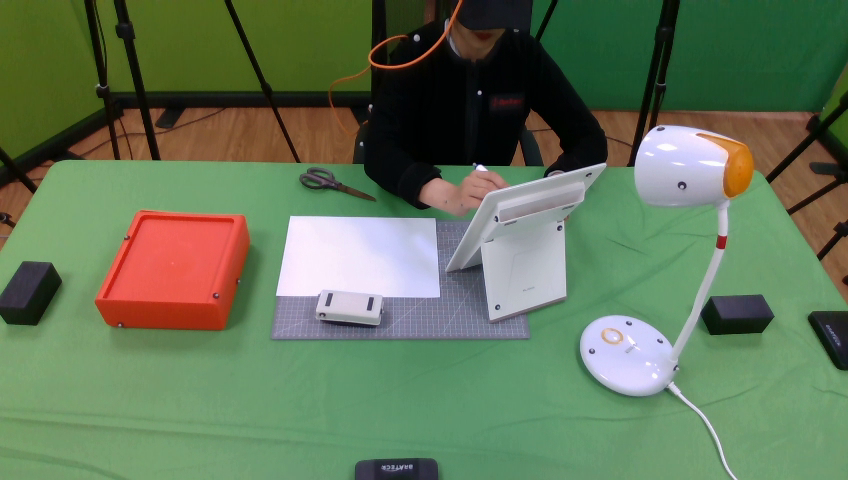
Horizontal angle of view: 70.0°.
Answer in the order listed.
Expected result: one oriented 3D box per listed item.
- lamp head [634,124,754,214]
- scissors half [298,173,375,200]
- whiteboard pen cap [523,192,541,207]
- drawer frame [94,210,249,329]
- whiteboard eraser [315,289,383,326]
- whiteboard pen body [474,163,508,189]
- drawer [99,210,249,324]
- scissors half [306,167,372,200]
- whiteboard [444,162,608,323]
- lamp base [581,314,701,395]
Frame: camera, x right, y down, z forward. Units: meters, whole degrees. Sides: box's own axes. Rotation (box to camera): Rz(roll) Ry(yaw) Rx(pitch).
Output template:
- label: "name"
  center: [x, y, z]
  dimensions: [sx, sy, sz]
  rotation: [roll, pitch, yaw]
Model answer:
- label: "lamp head"
  center: [0.351, -0.089, 0.776]
  dimensions: [0.112, 0.113, 0.122]
  rotation: [-30, 30, -28]
- label: "scissors half"
  center: [-0.188, -0.110, 1.296]
  dimensions: [0.175, 0.013, 0.040]
  rotation: [15, 42, 5]
- label: "whiteboard pen cap"
  center: [0.206, -0.077, 1.157]
  dimensions: [0.033, 0.018, 0.018]
  rotation: [29, 47, -8]
- label: "drawer frame"
  center: [-0.435, 0.048, 1.076]
  dimensions: [0.202, 0.083, 0.212]
  rotation: [2, 47, -3]
- label: "whiteboard eraser"
  center: [-0.130, 0.119, 1.054]
  dimensions: [0.113, 0.042, 0.055]
  rotation: [6, 47, 1]
- label: "whiteboard pen body"
  center: [0.133, -0.094, 1.052]
  dimensions: [0.017, 0.017, 0.140]
  rotation: [-23, 48, -24]
- label: "drawer"
  center: [-0.435, 0.044, 1.081]
  dimensions: [0.194, 0.073, 0.210]
  rotation: [3, 46, -2]
- label: "scissors half"
  center: [-0.180, -0.120, 1.311]
  dimensions: [0.174, 0.013, 0.040]
  rotation: [27, 39, 18]
- label: "whiteboard"
  center: [0.186, 0.025, 1.029]
  dimensions: [0.217, 0.306, 0.143]
  rotation: [-14, 68, -18]
- label: "lamp base"
  center: [0.361, 0.145, 0.972]
  dimensions: [0.178, 0.181, 0.160]
  rotation: [34, 53, 23]
